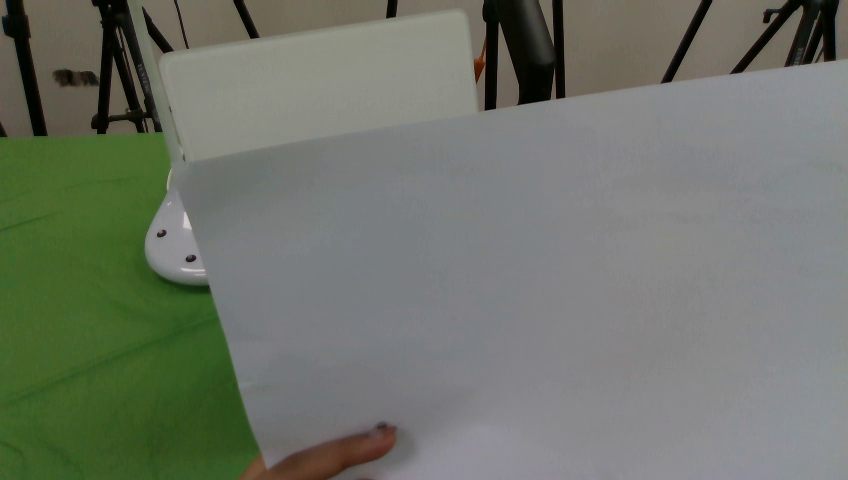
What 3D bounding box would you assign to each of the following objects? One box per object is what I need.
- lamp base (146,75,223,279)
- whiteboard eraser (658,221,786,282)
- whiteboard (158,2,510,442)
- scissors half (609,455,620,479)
[{"bbox_3d":[-0.241,-0.076,0.647,0.177,0.182,0.160,25,46,33],"label":"lamp base"},{"bbox_3d":[0.306,0.014,0.627,0.113,0.042,0.055,-7,40,-7],"label":"whiteboard eraser"},{"bbox_3d":[-0.067,-0.025,0.524,0.218,0.307,0.142,-15,22,-16],"label":"whiteboard"},{"bbox_3d":[0.109,0.181,0.260,0.013,0.040,0.174,-15,72,-1],"label":"scissors half"}]
